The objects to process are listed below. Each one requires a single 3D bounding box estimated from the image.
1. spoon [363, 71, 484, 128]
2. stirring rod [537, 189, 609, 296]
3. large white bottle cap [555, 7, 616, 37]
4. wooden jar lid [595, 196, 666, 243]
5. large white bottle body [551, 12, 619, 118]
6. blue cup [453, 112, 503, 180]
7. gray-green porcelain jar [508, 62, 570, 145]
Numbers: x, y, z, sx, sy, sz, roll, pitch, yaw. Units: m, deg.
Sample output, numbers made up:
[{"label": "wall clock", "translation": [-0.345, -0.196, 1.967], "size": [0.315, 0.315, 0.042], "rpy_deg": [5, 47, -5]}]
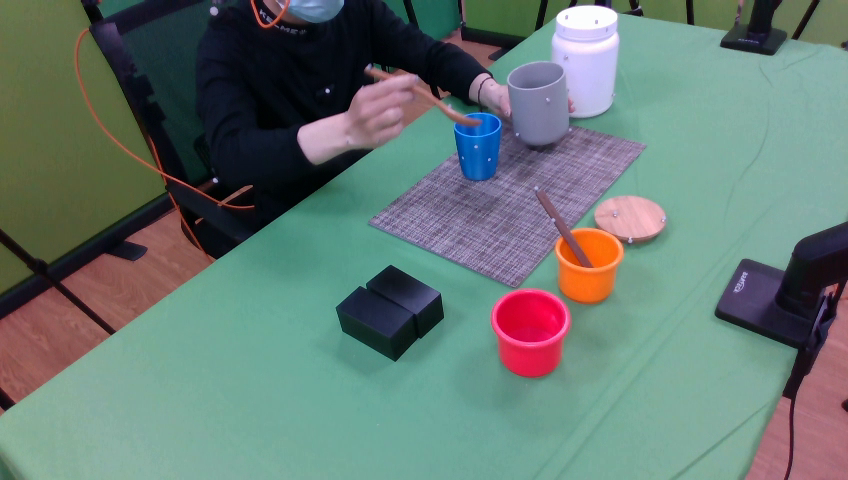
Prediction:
[{"label": "spoon", "translation": [0.001, -0.203, 0.878], "size": [0.195, 0.021, 0.041], "rpy_deg": [24, 5, -19]}, {"label": "stirring rod", "translation": [0.210, 0.003, 0.855], "size": [0.014, 0.006, 0.176], "rpy_deg": [-32, 89, -30]}, {"label": "large white bottle cap", "translation": [0.311, -0.420, 1.163], "size": [0.115, 0.018, 0.114], "rpy_deg": [-4, 40, 4]}, {"label": "wooden jar lid", "translation": [0.329, -0.032, 0.967], "size": [0.108, 0.021, 0.108], "rpy_deg": [-4, 41, 4]}, {"label": "large white bottle body", "translation": [0.321, -0.356, 1.218], "size": [0.130, 0.185, 0.130], "rpy_deg": [-4, 41, 4]}, {"label": "blue cup", "translation": [0.098, -0.165, 1.088], "size": [0.092, 0.100, 0.092], "rpy_deg": [-3, 40, 3]}, {"label": "gray-green porcelain jar", "translation": [0.215, -0.248, 1.121], "size": [0.106, 0.127, 0.105], "rpy_deg": [-9, 40, 8]}]
